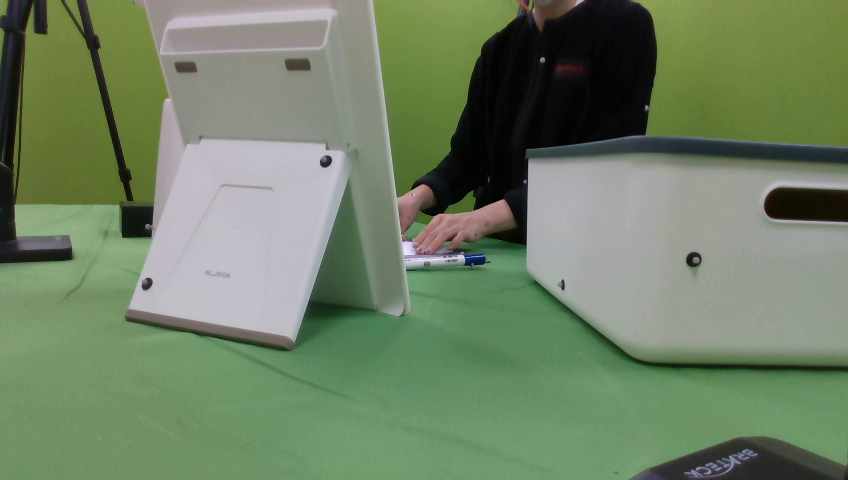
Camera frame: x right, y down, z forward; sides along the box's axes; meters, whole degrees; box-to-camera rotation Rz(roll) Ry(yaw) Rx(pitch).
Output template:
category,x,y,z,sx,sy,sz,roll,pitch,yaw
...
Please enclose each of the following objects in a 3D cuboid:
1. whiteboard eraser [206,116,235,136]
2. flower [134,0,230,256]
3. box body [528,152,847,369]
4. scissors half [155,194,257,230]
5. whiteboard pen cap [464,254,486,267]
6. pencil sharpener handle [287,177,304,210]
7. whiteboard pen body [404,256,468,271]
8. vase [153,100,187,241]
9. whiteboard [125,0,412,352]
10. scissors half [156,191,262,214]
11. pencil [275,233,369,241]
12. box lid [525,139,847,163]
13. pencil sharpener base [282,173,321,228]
category,x,y,z,sx,sy,sz,roll,pitch,yaw
whiteboard eraser,-0.450,-0.252,1.335,0.056,0.042,0.112,1,7,-22
flower,-0.282,-0.147,0.713,0.038,0.362,0.044,-23,24,-31
box body,0.258,-0.005,0.591,0.254,0.160,0.363,2,7,-4
scissors half,-0.378,-0.051,1.058,0.176,0.040,0.012,20,22,-31
whiteboard pen cap,0.066,0.028,0.818,0.033,0.018,0.018,-5,10,-24
pencil sharpener handle,-0.269,-0.096,1.257,0.036,0.067,0.030,-9,8,-27
whiteboard pen body,0.013,0.030,0.792,0.141,0.017,0.017,-2,9,-24
vase,-0.278,-0.066,0.736,0.098,0.200,0.098,2,9,0
whiteboard,-0.151,-0.049,0.472,0.216,0.305,0.144,6,27,24
scissors half,-0.371,-0.069,1.051,0.176,0.040,0.013,2,25,-24
pencil,-0.169,-0.006,1.036,0.195,0.012,0.012,-2,9,-45
box lid,0.261,-0.078,0.580,0.264,0.015,0.371,2,7,-4
pencil sharpener base,-0.247,-0.080,1.212,0.061,0.107,0.076,-2,5,-28
